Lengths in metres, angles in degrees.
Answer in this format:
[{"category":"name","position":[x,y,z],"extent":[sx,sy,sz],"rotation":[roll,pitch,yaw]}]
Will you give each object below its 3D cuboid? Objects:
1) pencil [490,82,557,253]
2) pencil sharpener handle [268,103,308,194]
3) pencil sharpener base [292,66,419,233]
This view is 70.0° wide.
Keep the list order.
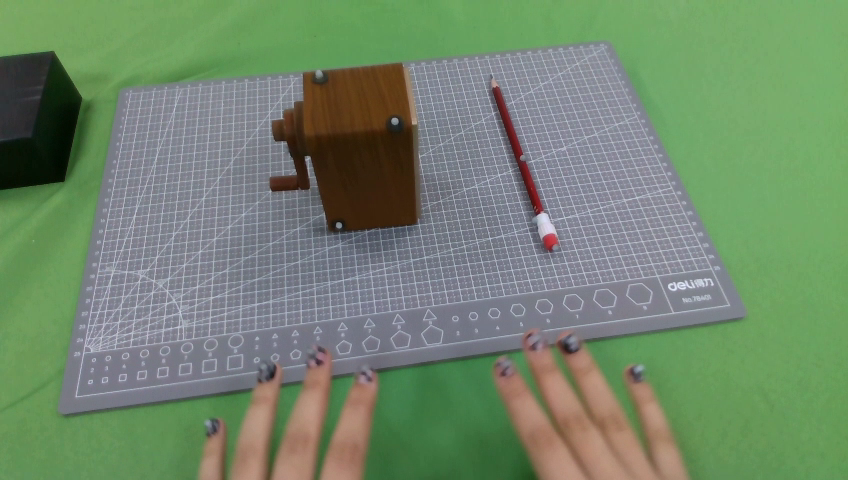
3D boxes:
[{"category":"pencil","position":[0.076,-0.068,0.491],"extent":[0.012,0.012,0.192],"rotation":[-8,54,-6]},{"category":"pencil sharpener handle","position":[-0.095,-0.058,0.408],"extent":[0.031,0.068,0.035],"rotation":[-7,45,-4]},{"category":"pencil sharpener base","position":[-0.045,-0.059,0.424],"extent":[0.077,0.108,0.060],"rotation":[-7,56,-4]}]
